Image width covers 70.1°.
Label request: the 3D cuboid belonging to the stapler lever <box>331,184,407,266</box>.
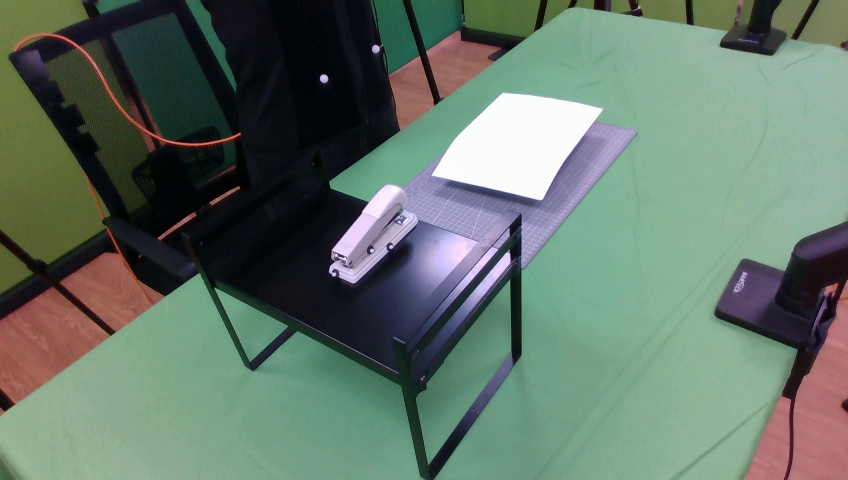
[{"bbox_3d":[-0.061,-0.020,0.690,0.026,0.040,0.118,18,48,31],"label":"stapler lever"}]

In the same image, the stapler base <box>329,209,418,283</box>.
[{"bbox_3d":[-0.058,-0.002,0.708,0.041,0.024,0.131,18,48,31],"label":"stapler base"}]
